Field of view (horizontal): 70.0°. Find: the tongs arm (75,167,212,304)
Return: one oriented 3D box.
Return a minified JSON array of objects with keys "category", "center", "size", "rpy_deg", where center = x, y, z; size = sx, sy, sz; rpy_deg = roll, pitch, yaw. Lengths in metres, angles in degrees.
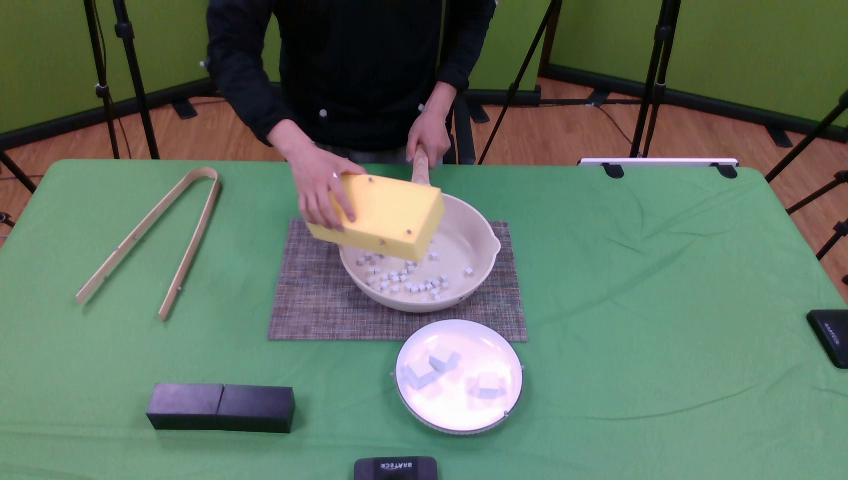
[{"category":"tongs arm","center":[-0.525,-0.021,1.167],"size":[0.051,0.026,0.383],"rpy_deg":[13,46,7]}]

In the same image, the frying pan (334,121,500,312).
[{"category":"frying pan","center":[-0.010,-0.063,1.195],"size":[0.307,0.103,0.485],"rpy_deg":[4,55,-2]}]

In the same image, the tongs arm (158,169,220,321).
[{"category":"tongs arm","center":[-0.446,-0.005,1.164],"size":[0.028,0.028,0.385],"rpy_deg":[1,46,0]}]

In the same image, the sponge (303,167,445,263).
[{"category":"sponge","center":[-0.083,-0.046,1.029],"size":[0.206,0.061,0.118],"rpy_deg":[13,60,19]}]

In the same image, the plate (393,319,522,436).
[{"category":"plate","center":[0.053,0.222,0.979],"size":[0.208,0.039,0.206],"rpy_deg":[3,46,-2]}]
